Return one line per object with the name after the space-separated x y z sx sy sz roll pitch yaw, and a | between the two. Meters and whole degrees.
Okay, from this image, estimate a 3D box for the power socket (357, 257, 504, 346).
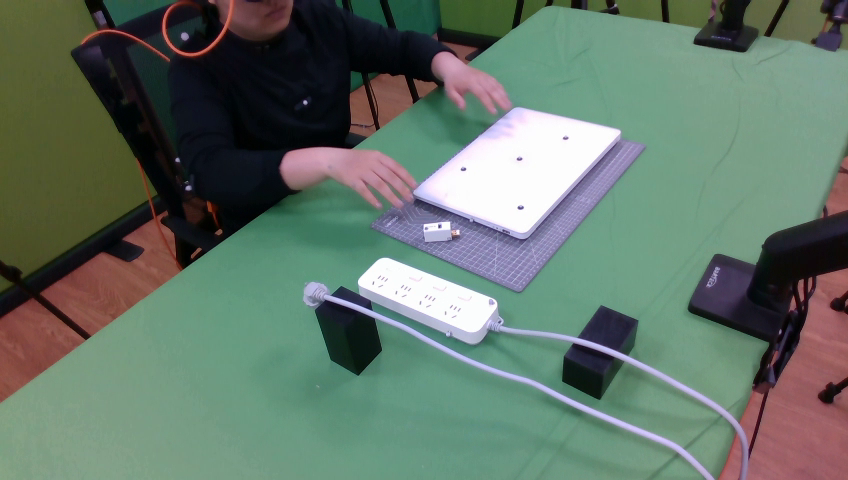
0.003 0.084 0.862 0.225 0.033 0.072 20 49 28 | power socket

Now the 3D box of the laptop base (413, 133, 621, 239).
0.176 -0.134 1.101 0.233 0.023 0.355 21 48 33 | laptop base

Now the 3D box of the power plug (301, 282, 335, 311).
-0.134 0.081 0.783 0.035 0.053 0.072 -42 47 -7 | power plug

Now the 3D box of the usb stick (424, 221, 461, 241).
0.029 -0.014 0.973 0.059 0.027 0.021 -2 42 1 | usb stick

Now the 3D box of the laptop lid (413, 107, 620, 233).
0.173 -0.144 1.095 0.239 0.013 0.358 23 49 33 | laptop lid
